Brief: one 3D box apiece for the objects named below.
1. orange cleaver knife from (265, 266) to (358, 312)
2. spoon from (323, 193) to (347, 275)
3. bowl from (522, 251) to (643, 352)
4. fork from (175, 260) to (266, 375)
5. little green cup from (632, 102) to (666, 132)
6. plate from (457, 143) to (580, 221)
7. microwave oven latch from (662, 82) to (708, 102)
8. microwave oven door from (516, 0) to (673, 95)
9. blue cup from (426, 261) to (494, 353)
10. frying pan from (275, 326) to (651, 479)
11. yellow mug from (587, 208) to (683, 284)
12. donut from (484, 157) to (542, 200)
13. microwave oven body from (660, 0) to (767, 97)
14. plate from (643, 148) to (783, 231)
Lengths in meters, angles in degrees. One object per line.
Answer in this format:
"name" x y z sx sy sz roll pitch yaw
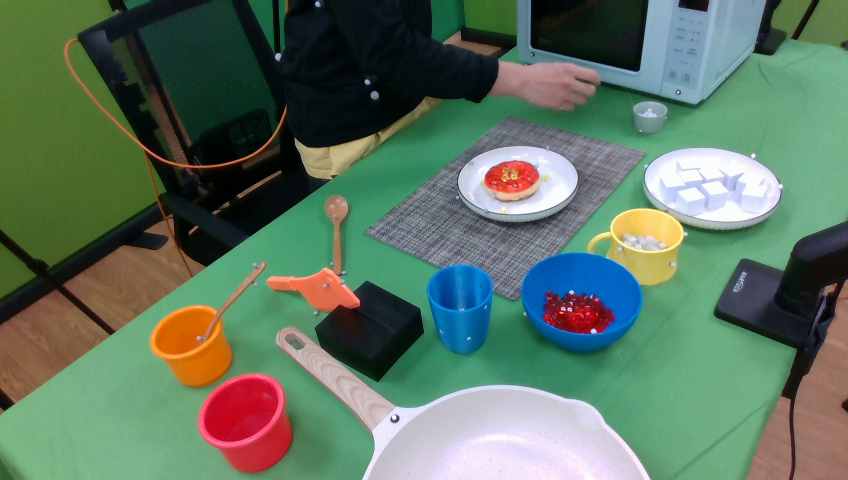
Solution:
"orange cleaver knife" -0.164 0.073 0.864 0.210 0.077 0.012 -6 31 50
"spoon" -0.148 -0.014 1.008 0.042 0.022 0.192 1 40 -9
"bowl" 0.204 0.093 0.792 0.151 0.077 0.150 -4 40 4
"fork" -0.268 0.103 0.792 0.207 0.019 0.028 -51 41 16
"little green cup" 0.434 -0.238 1.172 0.061 0.039 0.061 -6 39 5
"plate" 0.162 -0.097 1.042 0.209 0.038 0.208 -4 40 4
"microwave oven latch" 0.518 -0.298 1.202 0.078 0.029 0.030 28 53 35
"microwave oven door" 0.344 -0.458 1.257 0.353 0.245 0.039 26 51 33
"blue cup" 0.049 0.095 0.792 0.092 0.100 0.092 -3 43 3
"frying pan" 0.004 0.229 0.641 0.484 0.103 0.308 34 54 28
"yellow mug" 0.305 0.009 0.884 0.131 0.064 0.099 -4 41 5
"donut" 0.153 -0.107 1.039 0.099 0.048 0.098 -6 38 5
"microwave oven body" 0.473 -0.516 1.313 0.438 0.261 0.327 26 51 34
"plate" 0.464 -0.080 0.985 0.207 0.039 0.206 -4 41 4
